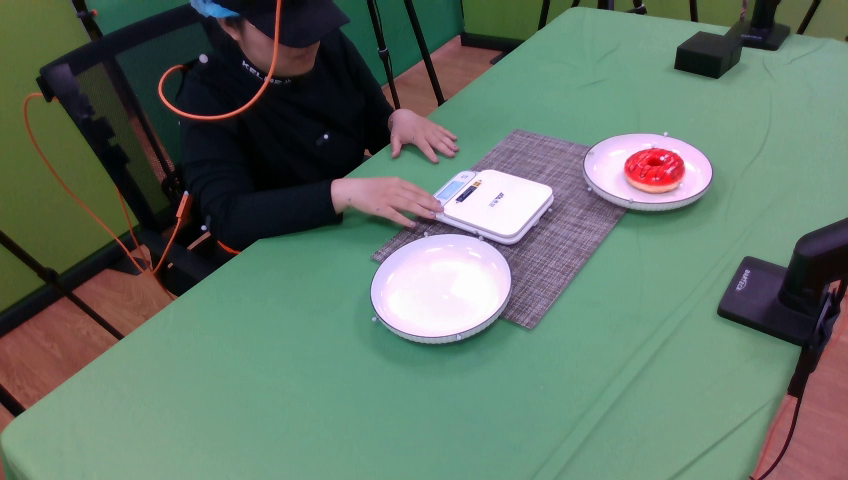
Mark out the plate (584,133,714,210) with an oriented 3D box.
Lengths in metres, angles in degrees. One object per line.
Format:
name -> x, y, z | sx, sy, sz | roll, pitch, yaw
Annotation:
plate -> 0.379, -0.113, 1.030 | 0.209, 0.038, 0.208 | -4, 41, 4

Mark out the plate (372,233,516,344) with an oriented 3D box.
plate -> 0.030, 0.072, 0.879 | 0.207, 0.039, 0.206 | -6, 42, 6

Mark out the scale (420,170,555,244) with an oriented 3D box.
scale -> 0.106, -0.064, 1.029 | 0.199, 0.032, 0.149 | 21, 48, 32

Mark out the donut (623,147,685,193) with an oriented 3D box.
donut -> 0.388, -0.119, 1.019 | 0.099, 0.048, 0.098 | -4, 42, 5
